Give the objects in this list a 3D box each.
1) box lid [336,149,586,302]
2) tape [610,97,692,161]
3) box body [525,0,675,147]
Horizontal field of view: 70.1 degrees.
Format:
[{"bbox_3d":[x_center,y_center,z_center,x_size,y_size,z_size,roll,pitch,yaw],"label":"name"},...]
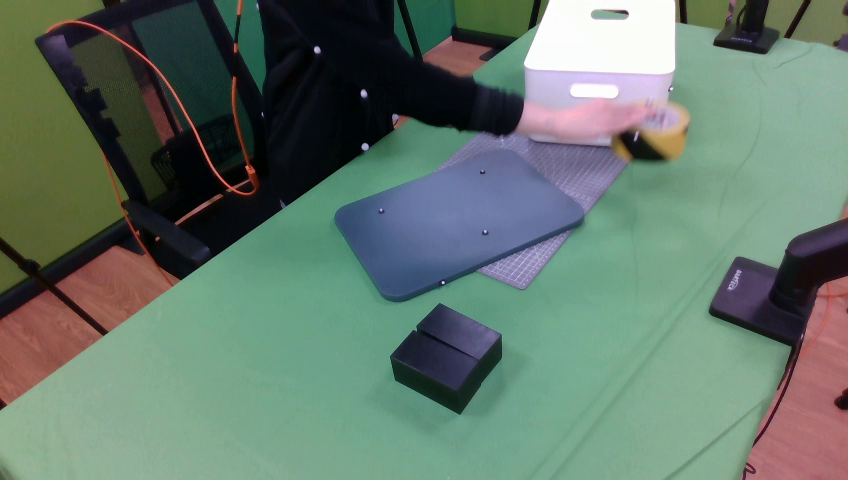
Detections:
[{"bbox_3d":[0.055,-0.040,1.022,0.373,0.015,0.261,-22,42,-16],"label":"box lid"},{"bbox_3d":[0.350,-0.173,0.936,0.117,0.053,0.116,-4,39,3],"label":"tape"},{"bbox_3d":[0.356,-0.342,1.212,0.253,0.161,0.363,7,42,17],"label":"box body"}]
